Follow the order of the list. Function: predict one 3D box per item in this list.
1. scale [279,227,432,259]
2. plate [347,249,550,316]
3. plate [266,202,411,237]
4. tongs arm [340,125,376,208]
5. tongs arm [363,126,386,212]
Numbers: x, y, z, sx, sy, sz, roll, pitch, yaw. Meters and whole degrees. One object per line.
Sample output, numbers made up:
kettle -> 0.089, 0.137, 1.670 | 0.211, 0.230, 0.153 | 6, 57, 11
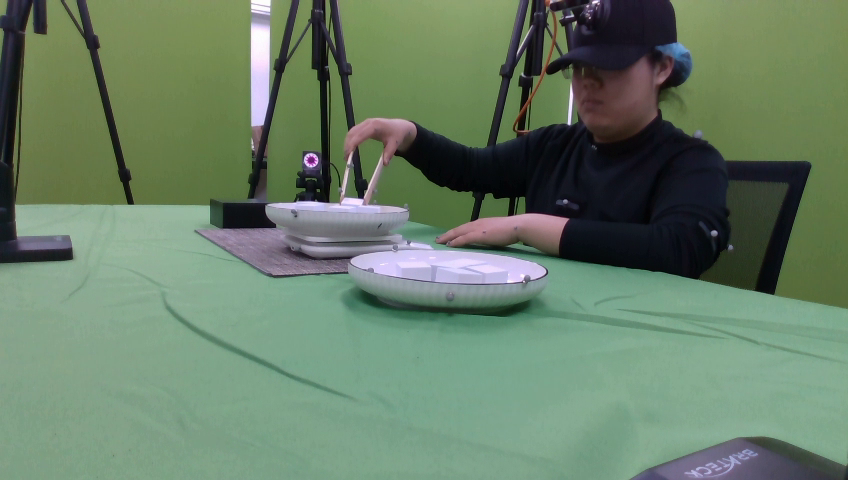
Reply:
scale -> -0.100, 0.001, 0.899 | 0.202, 0.031, 0.148 | -1, 9, -31
plate -> 0.025, 0.042, 0.627 | 0.209, 0.038, 0.209 | 2, 7, 0
plate -> -0.123, -0.030, 0.879 | 0.208, 0.039, 0.207 | 2, 6, 0
tongs arm -> -0.114, -0.142, 1.086 | 0.051, 0.026, 0.384 | 6, 26, -7
tongs arm -> -0.090, -0.139, 1.087 | 0.028, 0.028, 0.387 | 4, 26, -2
